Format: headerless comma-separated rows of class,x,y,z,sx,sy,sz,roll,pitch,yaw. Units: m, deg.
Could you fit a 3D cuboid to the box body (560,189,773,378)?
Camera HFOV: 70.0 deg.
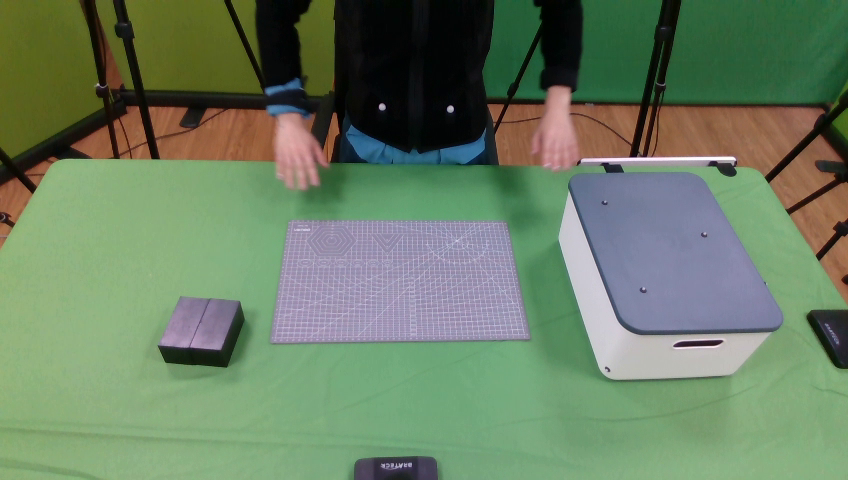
box body,0.405,0.057,1.074,0.254,0.161,0.361,-2,46,-5

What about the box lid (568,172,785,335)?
box lid,0.407,0.007,1.019,0.263,0.015,0.369,-1,46,-5
